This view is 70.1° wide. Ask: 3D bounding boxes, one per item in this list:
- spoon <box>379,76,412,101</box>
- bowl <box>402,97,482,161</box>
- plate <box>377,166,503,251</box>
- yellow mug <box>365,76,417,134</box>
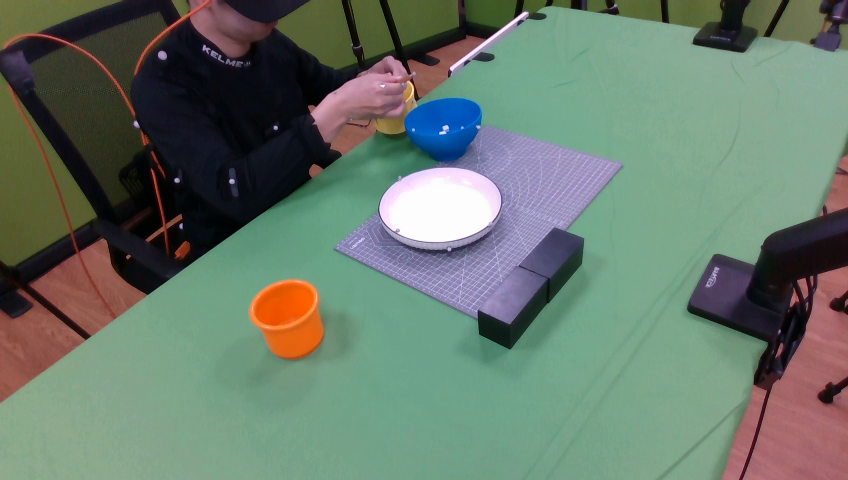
[{"bbox_3d":[-0.054,-0.292,1.157,0.042,0.021,0.193,-27,7,-13],"label":"spoon"},{"bbox_3d":[0.040,-0.203,1.155,0.151,0.077,0.150,-7,38,6],"label":"bowl"},{"bbox_3d":[0.027,-0.050,1.007,0.209,0.038,0.208,-4,41,4],"label":"plate"},{"bbox_3d":[-0.064,-0.284,1.234,0.100,0.064,0.130,-7,49,7],"label":"yellow mug"}]
